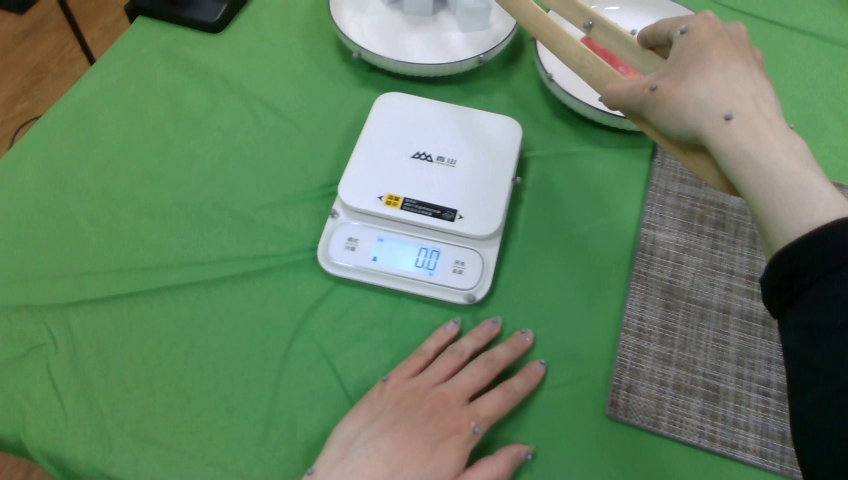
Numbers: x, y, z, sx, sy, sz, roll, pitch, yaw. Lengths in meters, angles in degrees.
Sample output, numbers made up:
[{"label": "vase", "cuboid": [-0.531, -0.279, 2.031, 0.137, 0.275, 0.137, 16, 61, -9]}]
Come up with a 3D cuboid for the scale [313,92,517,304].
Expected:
[{"label": "scale", "cuboid": [-0.002, -0.045, 0.541, 0.148, 0.032, 0.199, 13, 57, 5]}]

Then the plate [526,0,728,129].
[{"label": "plate", "cuboid": [0.210, -0.189, 0.642, 0.209, 0.038, 0.207, 2, 56, -2]}]

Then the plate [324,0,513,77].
[{"label": "plate", "cuboid": [-0.005, -0.250, 0.671, 0.208, 0.039, 0.205, 1, 57, -2]}]

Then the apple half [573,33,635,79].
[{"label": "apple half", "cuboid": [0.193, -0.204, 0.645, 0.081, 0.033, 0.080, 0, 53, 0]}]

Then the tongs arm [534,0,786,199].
[{"label": "tongs arm", "cuboid": [0.145, -0.168, 0.517, 0.051, 0.027, 0.381, -24, 56, -26]}]

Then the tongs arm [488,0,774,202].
[{"label": "tongs arm", "cuboid": [0.125, -0.161, 0.508, 0.028, 0.028, 0.383, -18, 53, -27]}]
